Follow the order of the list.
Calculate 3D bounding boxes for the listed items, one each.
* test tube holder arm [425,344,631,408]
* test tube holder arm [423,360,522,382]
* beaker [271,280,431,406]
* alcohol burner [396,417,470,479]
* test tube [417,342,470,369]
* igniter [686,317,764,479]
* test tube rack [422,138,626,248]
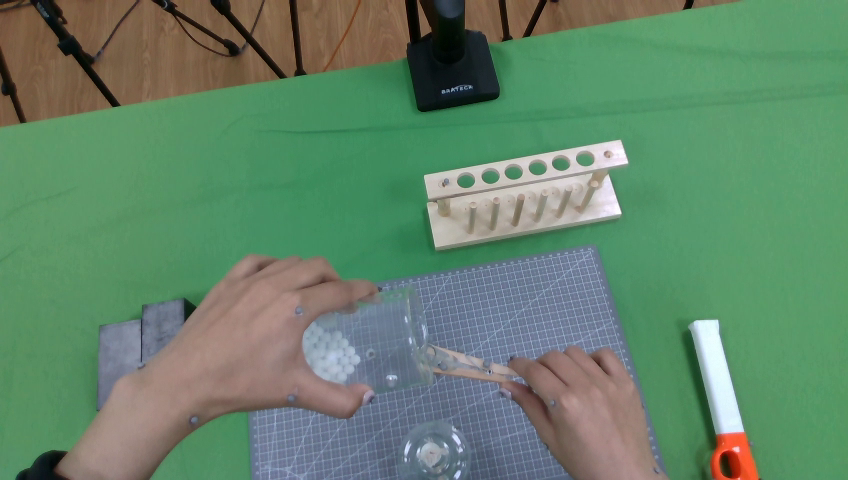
[{"bbox_3d":[0.086,0.116,0.521,0.178,0.015,0.013,11,83,16],"label":"test tube holder arm"},{"bbox_3d":[0.042,0.115,0.533,0.087,0.015,0.010,4,80,15],"label":"test tube holder arm"},{"bbox_3d":[-0.051,0.077,0.438,0.100,0.085,0.073,-12,57,5],"label":"beaker"},{"bbox_3d":[0.009,0.220,0.626,0.078,0.120,0.077,-1,65,2],"label":"alcohol burner"},{"bbox_3d":[0.020,0.107,0.537,0.017,0.151,0.017,-4,73,15],"label":"test tube"},{"bbox_3d":[0.332,0.219,0.660,0.057,0.025,0.274,0,67,-8],"label":"igniter"},{"bbox_3d":[0.124,-0.056,0.756,0.242,0.086,0.066,-10,67,-1],"label":"test tube rack"}]
